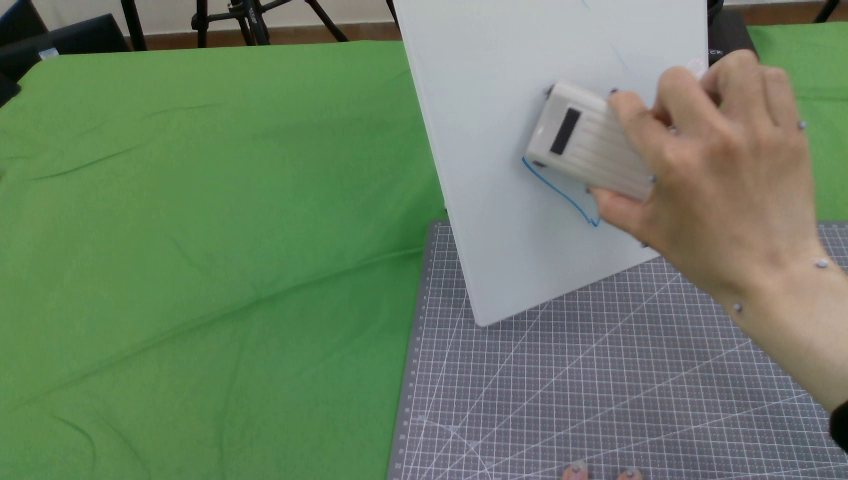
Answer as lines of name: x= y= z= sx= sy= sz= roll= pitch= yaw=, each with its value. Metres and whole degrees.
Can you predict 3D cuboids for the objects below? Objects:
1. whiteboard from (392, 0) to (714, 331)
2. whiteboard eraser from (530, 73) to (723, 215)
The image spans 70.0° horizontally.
whiteboard: x=0.086 y=-0.123 z=0.474 sx=0.217 sy=0.308 sz=0.142 roll=-20 pitch=28 yaw=-8
whiteboard eraser: x=0.131 y=-0.064 z=0.400 sx=0.112 sy=0.056 sz=0.041 roll=24 pitch=26 yaw=7
